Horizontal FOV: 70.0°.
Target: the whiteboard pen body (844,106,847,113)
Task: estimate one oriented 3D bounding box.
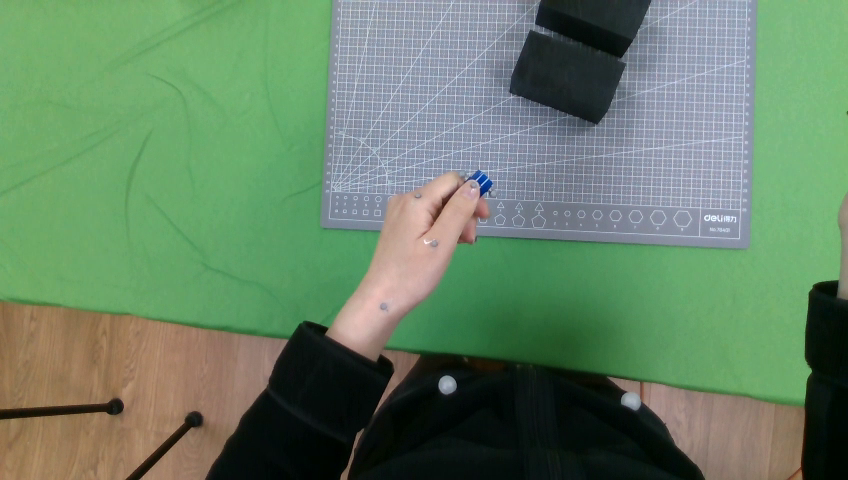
[{"bbox_3d":[0.309,-0.076,0.327,0.140,0.017,0.017,0,87,19],"label":"whiteboard pen body"}]

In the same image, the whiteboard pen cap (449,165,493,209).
[{"bbox_3d":[0.035,-0.040,0.450,0.018,0.018,0.033,44,95,5],"label":"whiteboard pen cap"}]
